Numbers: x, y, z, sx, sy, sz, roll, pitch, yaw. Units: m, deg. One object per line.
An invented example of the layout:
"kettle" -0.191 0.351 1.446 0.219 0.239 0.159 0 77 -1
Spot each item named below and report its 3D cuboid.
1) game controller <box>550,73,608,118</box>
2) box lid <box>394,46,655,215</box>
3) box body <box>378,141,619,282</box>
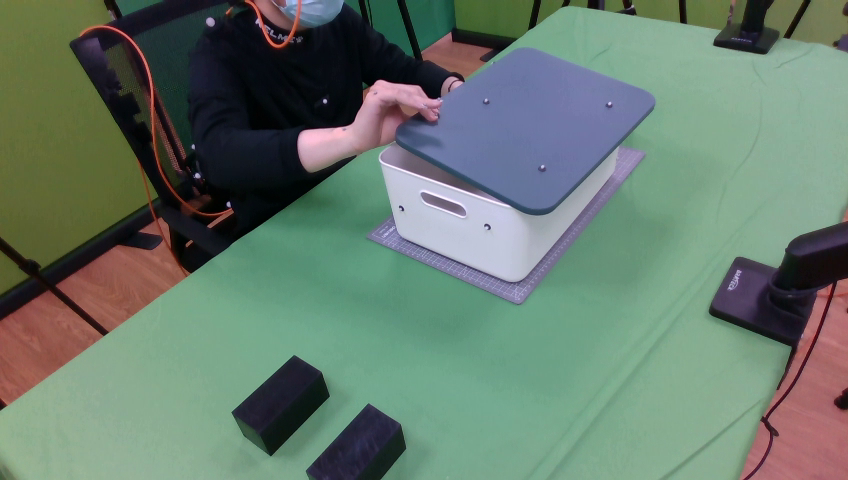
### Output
"game controller" 0.326 -0.306 1.260 0.096 0.052 0.155 13 45 17
"box lid" 0.162 -0.184 0.908 0.261 0.015 0.372 31 51 24
"box body" 0.137 -0.121 0.978 0.252 0.161 0.365 22 48 30
